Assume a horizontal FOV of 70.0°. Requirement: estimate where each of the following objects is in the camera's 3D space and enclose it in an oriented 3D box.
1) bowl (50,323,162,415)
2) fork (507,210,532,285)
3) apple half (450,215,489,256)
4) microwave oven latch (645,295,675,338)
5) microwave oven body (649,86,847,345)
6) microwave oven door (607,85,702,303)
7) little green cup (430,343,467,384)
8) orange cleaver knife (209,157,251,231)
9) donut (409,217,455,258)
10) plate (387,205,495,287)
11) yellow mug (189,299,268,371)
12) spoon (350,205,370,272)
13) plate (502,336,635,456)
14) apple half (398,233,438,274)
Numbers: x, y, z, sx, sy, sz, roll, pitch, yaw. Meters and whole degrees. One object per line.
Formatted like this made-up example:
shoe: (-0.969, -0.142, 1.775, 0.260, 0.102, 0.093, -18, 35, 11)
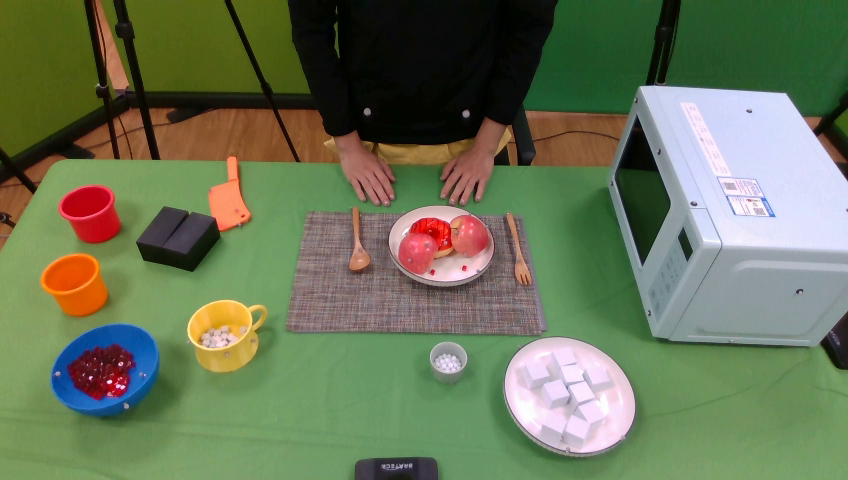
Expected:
bowl: (-0.472, 0.209, 0.924, 0.151, 0.077, 0.150, 3, 45, -2)
fork: (0.185, 0.012, 1.197, 0.028, 0.019, 0.206, -5, 48, 0)
apple half: (0.092, -0.013, 1.158, 0.075, 0.053, 0.080, 34, 39, -28)
microwave oven latch: (0.412, 0.134, 1.061, 0.030, 0.029, 0.078, 3, 45, 0)
microwave oven body: (0.568, -0.053, 1.118, 0.326, 0.261, 0.439, 2, 45, -1)
microwave oven door: (0.423, -0.094, 1.140, 0.039, 0.245, 0.353, 2, 46, -1)
little green cup: (0.039, 0.203, 0.994, 0.061, 0.039, 0.061, 2, 46, -2)
orange cleaver knife: (-0.409, -0.099, 1.266, 0.077, 0.012, 0.210, -14, 50, -10)
donut: (0.019, -0.006, 1.174, 0.099, 0.048, 0.098, 3, 43, -2)
plate: (0.033, 0.014, 1.171, 0.209, 0.038, 0.208, 2, 46, -2)
yellow mug: (-0.316, 0.148, 1.002, 0.131, 0.064, 0.099, -33, 56, -31)
spoon: (-0.130, -0.007, 1.190, 0.041, 0.022, 0.192, -19, 47, 9)
plate: (0.225, 0.248, 0.964, 0.208, 0.039, 0.206, 2, 46, -2)
apple half: (-0.016, 0.022, 1.123, 0.081, 0.033, 0.081, -2, 83, 14)
